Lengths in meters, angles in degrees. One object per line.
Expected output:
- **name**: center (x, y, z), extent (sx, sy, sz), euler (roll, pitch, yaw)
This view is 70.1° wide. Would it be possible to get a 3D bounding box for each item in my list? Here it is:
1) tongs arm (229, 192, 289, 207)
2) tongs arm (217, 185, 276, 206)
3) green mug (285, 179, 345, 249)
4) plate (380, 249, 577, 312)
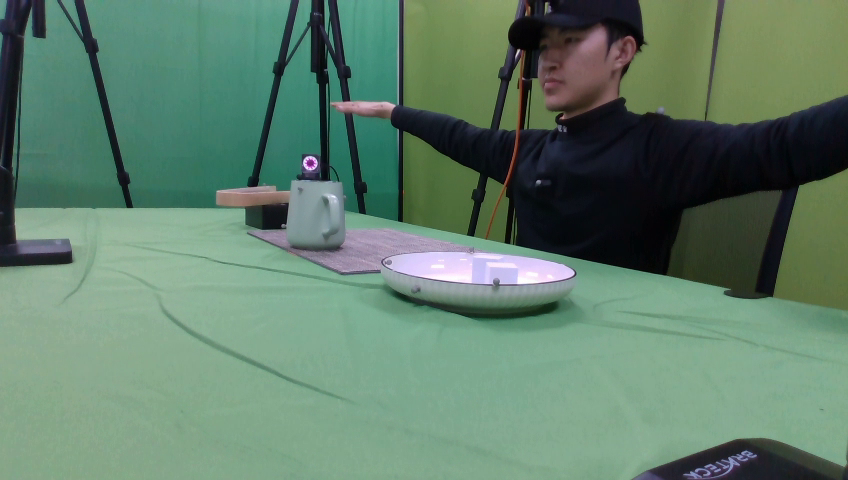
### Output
- **tongs arm**: center (-0.284, -0.092, 1.283), extent (0.028, 0.028, 0.388), euler (11, 9, 16)
- **tongs arm**: center (-0.361, -0.098, 1.294), extent (0.051, 0.026, 0.385), euler (6, 7, 5)
- **green mug**: center (-0.161, -0.040, 0.936), extent (0.093, 0.105, 0.124), euler (-2, 8, -32)
- **plate**: center (0.056, 0.042, 0.646), extent (0.209, 0.038, 0.209), euler (2, 7, 0)
